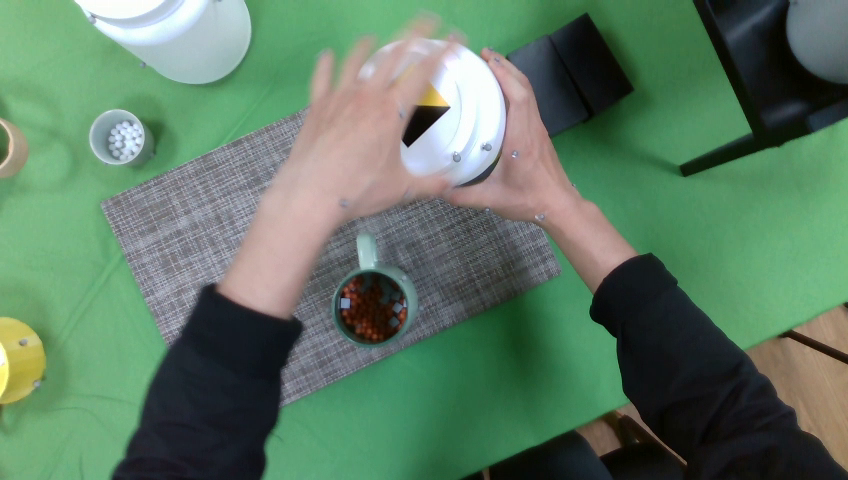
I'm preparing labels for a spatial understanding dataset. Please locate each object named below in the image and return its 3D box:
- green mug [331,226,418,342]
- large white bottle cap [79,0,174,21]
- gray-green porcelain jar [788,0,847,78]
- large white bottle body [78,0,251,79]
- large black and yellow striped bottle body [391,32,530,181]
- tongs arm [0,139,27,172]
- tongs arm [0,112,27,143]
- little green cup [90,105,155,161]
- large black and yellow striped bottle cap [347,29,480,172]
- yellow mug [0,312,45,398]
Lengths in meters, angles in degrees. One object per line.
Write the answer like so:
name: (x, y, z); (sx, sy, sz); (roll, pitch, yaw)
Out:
green mug: (-0.056, 0.047, 0.653); (0.092, 0.105, 0.125); (-8, 89, 0)
large white bottle cap: (-0.264, -0.252, 0.530); (0.115, 0.018, 0.114); (0, 90, -1)
gray-green porcelain jar: (0.365, -0.192, 0.475); (0.106, 0.126, 0.105); (0, 88, 0)
large white bottle body: (-0.264, -0.251, 0.614); (0.130, 0.184, 0.130); (0, 89, 0)
large black and yellow striped bottle body: (0.021, -0.123, 0.581); (0.130, 0.184, 0.131); (3, 98, 21)
tongs arm: (-0.626, -0.094, 0.649); (0.385, 0.026, 0.050); (4, 86, 1)
tongs arm: (-0.613, -0.176, 0.652); (0.387, 0.028, 0.028); (17, 83, 1)
little green cup: (-0.338, -0.118, 0.685); (0.061, 0.038, 0.061); (0, 90, -1)
large black and yellow striped bottle cap: (-0.011, -0.115, 0.504); (0.114, 0.019, 0.115); (2, 97, 20)
yellow mug: (-0.490, 0.147, 0.668); (0.100, 0.064, 0.131); (8, 90, -1)
